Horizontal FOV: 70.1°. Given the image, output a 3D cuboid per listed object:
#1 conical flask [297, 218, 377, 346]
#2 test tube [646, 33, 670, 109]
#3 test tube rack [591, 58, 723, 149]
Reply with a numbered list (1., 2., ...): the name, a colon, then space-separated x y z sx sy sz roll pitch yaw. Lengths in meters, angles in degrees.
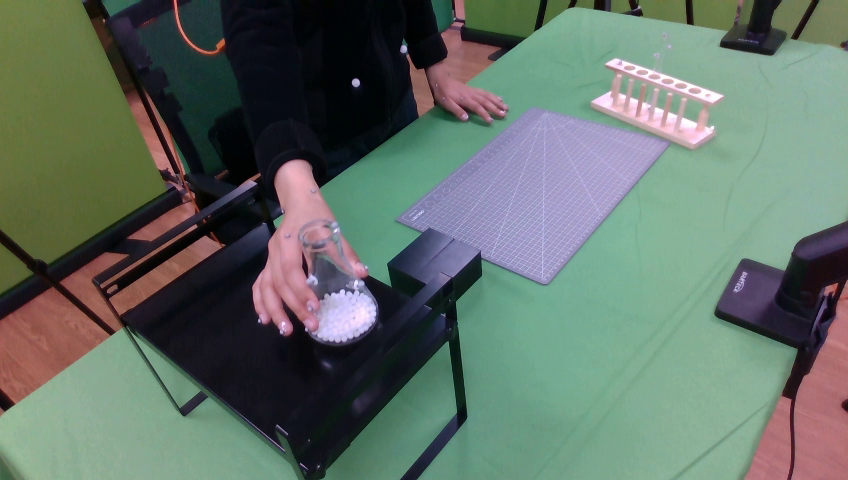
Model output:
1. conical flask: -0.089 0.037 0.577 0.075 0.122 0.075 -4 41 4
2. test tube: 0.445 -0.320 1.154 0.017 0.151 0.017 -1 41 2
3. test tube rack: 0.442 -0.269 1.171 0.067 0.085 0.240 -30 46 -24
